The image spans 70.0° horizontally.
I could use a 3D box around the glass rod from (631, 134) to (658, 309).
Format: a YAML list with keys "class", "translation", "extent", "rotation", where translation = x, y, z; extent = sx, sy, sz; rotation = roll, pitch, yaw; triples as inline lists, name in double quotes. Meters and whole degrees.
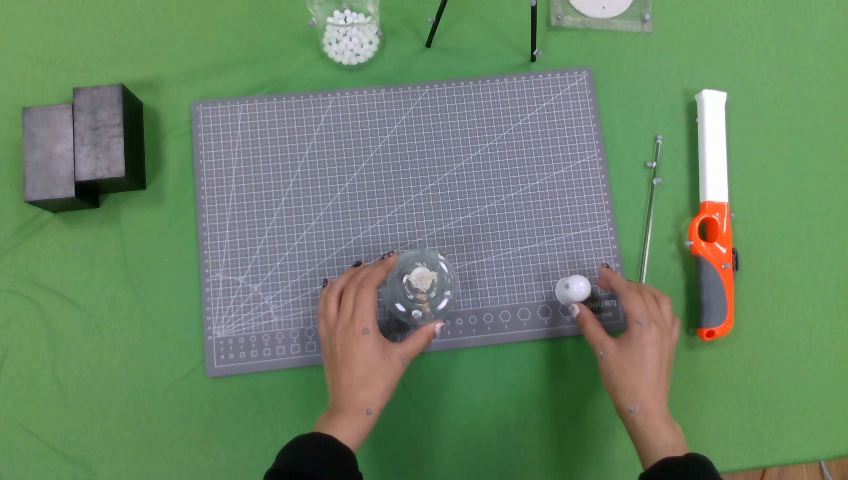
- class: "glass rod"
  translation: [0.243, -0.023, 0.670]
  extent: [0.008, 0.008, 0.199]
  rotation: [10, 82, -1]

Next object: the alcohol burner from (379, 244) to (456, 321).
- class: "alcohol burner"
  translation: [-0.006, 0.039, 0.593]
  extent: [0.078, 0.119, 0.077]
  rotation: [1, 79, -3]

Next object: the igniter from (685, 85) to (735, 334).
- class: "igniter"
  translation: [0.312, -0.036, 0.664]
  extent: [0.057, 0.025, 0.275]
  rotation: [5, 81, -12]

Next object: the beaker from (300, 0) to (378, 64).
- class: "beaker"
  translation: [-0.083, -0.238, 0.642]
  extent: [0.084, 0.100, 0.074]
  rotation: [39, 82, 3]

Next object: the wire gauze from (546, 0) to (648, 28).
- class: "wire gauze"
  translation: [0.200, -0.308, 0.711]
  extent: [0.125, 0.011, 0.121]
  rotation: [1, 81, 0]

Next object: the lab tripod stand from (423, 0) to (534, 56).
- class: "lab tripod stand"
  translation: [0.066, -0.269, 0.635]
  extent: [0.148, 0.132, 0.148]
  rotation: [0, 80, -1]

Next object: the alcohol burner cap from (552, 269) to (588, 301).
- class: "alcohol burner cap"
  translation: [0.155, 0.046, 0.635]
  extent: [0.034, 0.048, 0.033]
  rotation: [0, 81, -2]
